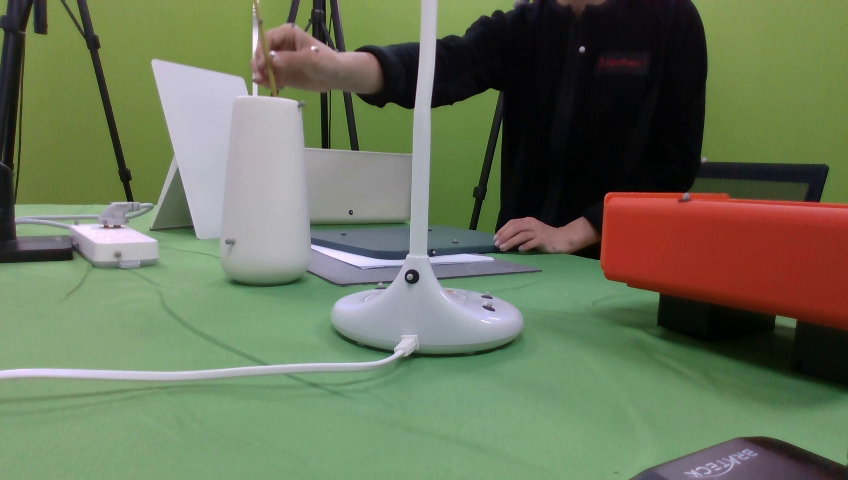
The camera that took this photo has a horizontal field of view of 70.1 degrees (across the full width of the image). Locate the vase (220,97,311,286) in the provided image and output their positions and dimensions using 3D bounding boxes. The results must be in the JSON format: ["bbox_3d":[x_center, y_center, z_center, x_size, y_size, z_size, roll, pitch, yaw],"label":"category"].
[{"bbox_3d":[-0.172,-0.052,0.662,0.098,0.200,0.098,3,8,0],"label":"vase"}]

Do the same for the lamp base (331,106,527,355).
[{"bbox_3d":[0.006,-0.012,0.478,0.161,0.180,0.179,2,10,2],"label":"lamp base"}]

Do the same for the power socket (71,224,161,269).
[{"bbox_3d":[-0.408,0.004,0.793,0.072,0.032,0.225,-2,8,-38],"label":"power socket"}]

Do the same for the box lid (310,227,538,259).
[{"bbox_3d":[-0.010,0.001,1.036,0.374,0.015,0.262,-3,9,-44],"label":"box lid"}]

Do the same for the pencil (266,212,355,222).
[{"bbox_3d":[-0.244,-0.049,1.319,0.195,0.012,0.012,4,7,-13],"label":"pencil"}]

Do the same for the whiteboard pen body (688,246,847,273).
[{"bbox_3d":[0.303,0.016,0.519,0.140,0.017,0.017,4,8,25],"label":"whiteboard pen body"}]

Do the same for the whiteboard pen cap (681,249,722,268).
[{"bbox_3d":[0.250,0.017,0.544,0.033,0.018,0.018,2,7,25],"label":"whiteboard pen cap"}]

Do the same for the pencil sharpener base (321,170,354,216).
[{"bbox_3d":[-0.206,-0.112,1.437,0.077,0.107,0.061,1,6,-11],"label":"pencil sharpener base"}]

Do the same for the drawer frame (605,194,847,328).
[{"bbox_3d":[0.298,0.007,0.497,0.203,0.082,0.212,-1,7,-34],"label":"drawer frame"}]

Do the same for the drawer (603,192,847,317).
[{"bbox_3d":[0.293,0.002,0.500,0.195,0.073,0.210,-1,8,-34],"label":"drawer"}]

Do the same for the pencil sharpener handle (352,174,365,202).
[{"bbox_3d":[-0.156,-0.124,1.448,0.031,0.068,0.036,1,18,-10],"label":"pencil sharpener handle"}]

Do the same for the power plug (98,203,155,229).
[{"bbox_3d":[-0.416,-0.026,0.848,0.073,0.052,0.035,1,8,-28],"label":"power plug"}]

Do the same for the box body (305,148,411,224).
[{"bbox_3d":[-0.230,-0.126,1.371,0.366,0.160,0.253,-2,8,-33],"label":"box body"}]

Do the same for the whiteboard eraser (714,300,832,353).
[{"bbox_3d":[0.256,0.042,0.472,0.112,0.042,0.056,43,19,30],"label":"whiteboard eraser"}]

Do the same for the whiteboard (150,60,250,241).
[{"bbox_3d":[-0.408,-0.139,1.093,0.143,0.305,0.218,-15,-1,26],"label":"whiteboard"}]

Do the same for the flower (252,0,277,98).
[{"bbox_3d":[-0.168,-0.172,0.666,0.044,0.361,0.038,-1,13,33],"label":"flower"}]
